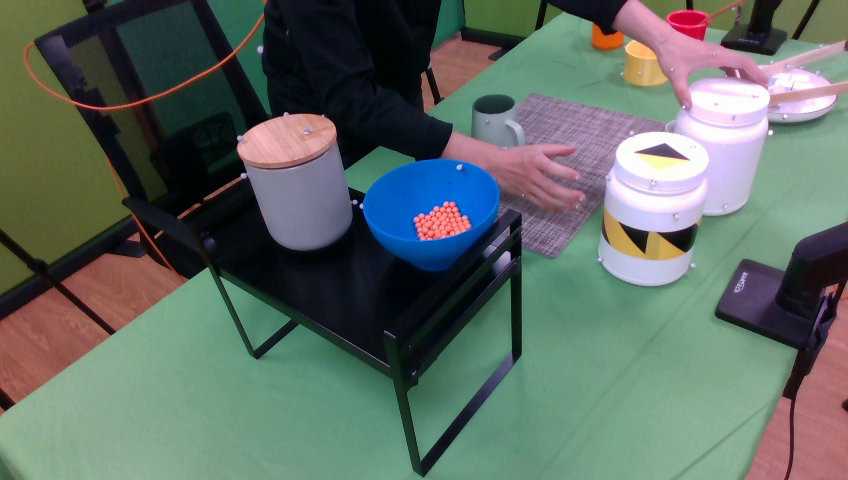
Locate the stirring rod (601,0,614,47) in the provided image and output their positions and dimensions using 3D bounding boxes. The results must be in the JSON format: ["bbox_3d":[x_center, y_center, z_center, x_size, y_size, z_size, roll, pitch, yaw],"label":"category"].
[{"bbox_3d":[0.439,-0.552,1.463,0.014,0.006,0.175,-7,83,2],"label":"stirring rod"}]

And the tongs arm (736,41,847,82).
[{"bbox_3d":[0.712,-0.332,1.194,0.386,0.026,0.050,-19,45,-16],"label":"tongs arm"}]

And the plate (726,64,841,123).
[{"bbox_3d":[0.695,-0.283,1.189,0.207,0.039,0.206,-4,40,4],"label":"plate"}]

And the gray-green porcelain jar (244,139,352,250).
[{"bbox_3d":[-0.144,-0.060,0.714,0.106,0.127,0.105,-4,41,4],"label":"gray-green porcelain jar"}]

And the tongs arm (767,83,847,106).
[{"bbox_3d":[0.738,-0.281,1.134,0.388,0.028,0.028,-9,47,-5],"label":"tongs arm"}]

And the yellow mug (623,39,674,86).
[{"bbox_3d":[0.485,-0.398,1.333,0.100,0.064,0.130,-18,40,-11],"label":"yellow mug"}]

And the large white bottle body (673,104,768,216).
[{"bbox_3d":[0.458,-0.146,0.953,0.130,0.185,0.130,-4,40,4],"label":"large white bottle body"}]

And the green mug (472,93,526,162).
[{"bbox_3d":[0.144,-0.202,1.122,0.093,0.105,0.124,-29,45,-23],"label":"green mug"}]

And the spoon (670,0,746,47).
[{"bbox_3d":[0.629,-0.485,1.350,0.022,0.193,0.042,47,54,-7],"label":"spoon"}]

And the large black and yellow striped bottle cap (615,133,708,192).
[{"bbox_3d":[0.313,-0.105,0.799,0.115,0.019,0.114,-5,41,5],"label":"large black and yellow striped bottle cap"}]

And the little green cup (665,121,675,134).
[{"bbox_3d":[0.473,-0.188,1.113,0.061,0.039,0.061,-5,40,5],"label":"little green cup"}]

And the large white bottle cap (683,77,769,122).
[{"bbox_3d":[0.447,-0.210,0.898,0.115,0.018,0.114,-5,40,4],"label":"large white bottle cap"}]

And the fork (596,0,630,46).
[{"bbox_3d":[0.481,-0.556,1.452,0.028,0.019,0.207,40,103,38],"label":"fork"}]

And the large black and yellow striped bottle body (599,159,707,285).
[{"bbox_3d":[0.320,-0.042,0.854,0.131,0.185,0.130,-4,40,4],"label":"large black and yellow striped bottle body"}]

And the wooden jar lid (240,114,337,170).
[{"bbox_3d":[-0.149,-0.106,0.673,0.108,0.021,0.108,-6,39,5],"label":"wooden jar lid"}]

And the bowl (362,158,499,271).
[{"bbox_3d":[0.011,-0.019,0.679,0.151,0.077,0.150,-5,41,5],"label":"bowl"}]
